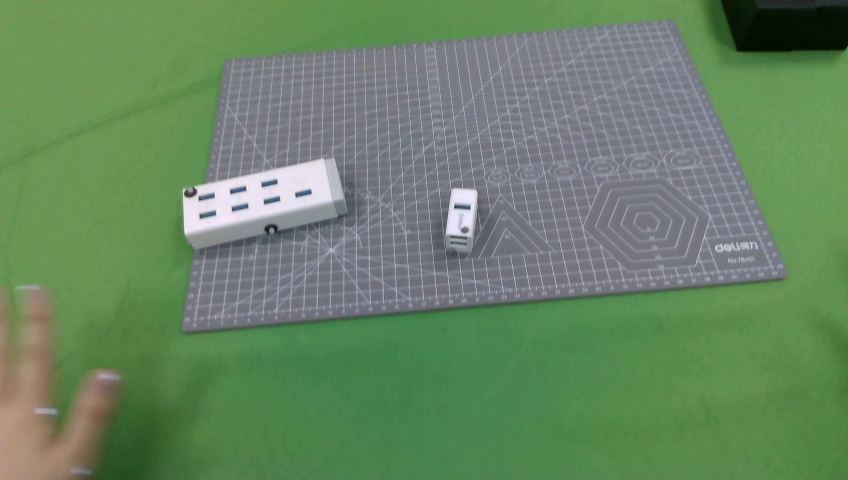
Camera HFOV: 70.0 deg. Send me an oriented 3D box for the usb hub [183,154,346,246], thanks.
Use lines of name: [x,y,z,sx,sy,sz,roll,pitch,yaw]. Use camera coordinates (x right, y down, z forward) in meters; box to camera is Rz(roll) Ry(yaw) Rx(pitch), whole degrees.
usb hub: [-0.130,-0.034,0.493,0.125,0.025,0.049,-13,58,-5]

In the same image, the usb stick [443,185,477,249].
usb stick: [0.029,-0.024,0.476,0.021,0.027,0.058,5,55,9]
